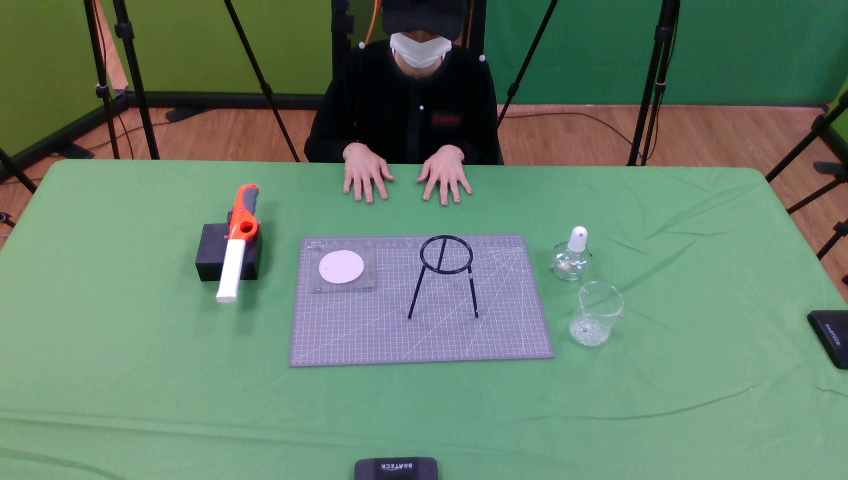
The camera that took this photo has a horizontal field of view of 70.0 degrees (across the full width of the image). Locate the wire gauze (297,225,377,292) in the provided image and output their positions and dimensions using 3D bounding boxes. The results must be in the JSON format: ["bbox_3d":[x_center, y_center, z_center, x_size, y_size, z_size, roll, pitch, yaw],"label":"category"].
[{"bbox_3d":[-0.165,0.034,1.137,0.125,0.011,0.120,-21,53,-15],"label":"wire gauze"}]

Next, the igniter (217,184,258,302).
[{"bbox_3d":[-0.340,-0.004,1.106,0.057,0.025,0.274,1,49,-6],"label":"igniter"}]

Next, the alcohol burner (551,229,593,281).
[{"bbox_3d":[0.281,0.021,1.137,0.078,0.120,0.077,1,48,-1],"label":"alcohol burner"}]

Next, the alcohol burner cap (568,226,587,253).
[{"bbox_3d":[0.284,-0.003,1.112,0.034,0.048,0.033,1,42,-1],"label":"alcohol burner cap"}]

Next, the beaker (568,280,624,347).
[{"bbox_3d":[0.290,0.132,1.041,0.084,0.101,0.073,-34,57,-31],"label":"beaker"}]

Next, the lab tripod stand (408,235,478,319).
[{"bbox_3d":[0.032,0.065,1.057,0.148,0.132,0.147,1,45,-1],"label":"lab tripod stand"}]
